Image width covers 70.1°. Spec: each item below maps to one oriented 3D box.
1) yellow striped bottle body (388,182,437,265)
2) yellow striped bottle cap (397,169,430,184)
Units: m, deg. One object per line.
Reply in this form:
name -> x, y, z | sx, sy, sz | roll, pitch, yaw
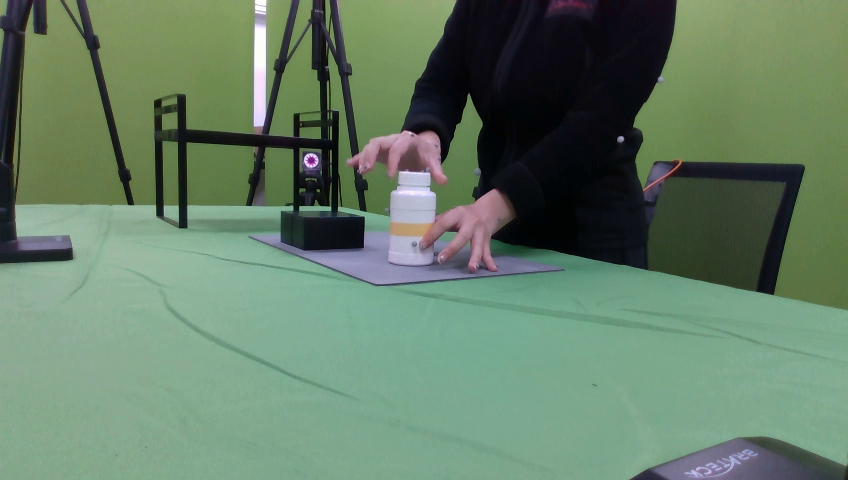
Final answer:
yellow striped bottle body -> -0.015, -0.030, 0.813 | 0.063, 0.120, 0.063 | 2, 7, 0
yellow striped bottle cap -> -0.014, -0.084, 0.805 | 0.044, 0.018, 0.044 | 5, 5, 0
